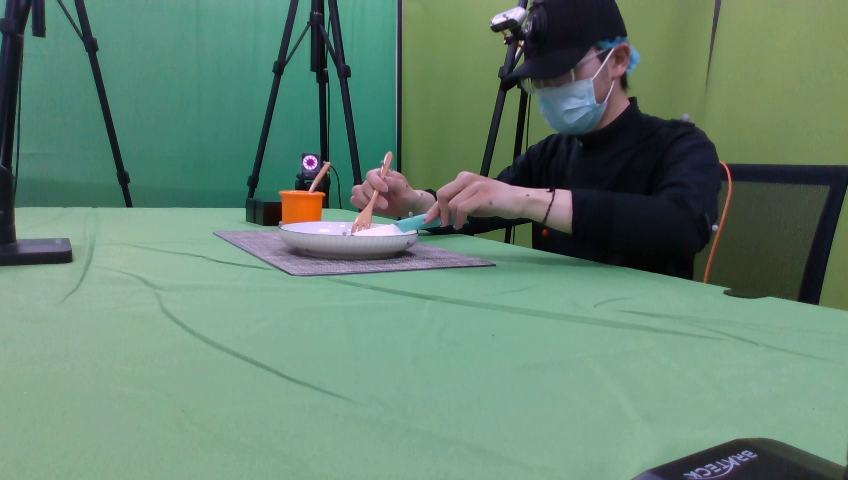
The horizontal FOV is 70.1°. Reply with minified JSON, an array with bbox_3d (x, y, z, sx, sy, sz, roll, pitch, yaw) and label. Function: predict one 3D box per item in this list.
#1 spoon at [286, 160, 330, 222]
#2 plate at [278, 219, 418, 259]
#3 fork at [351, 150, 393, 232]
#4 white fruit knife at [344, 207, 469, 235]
[{"bbox_3d":[-0.233,-0.101,1.252,0.041,0.193,0.022,2,-38,24],"label":"spoon"},{"bbox_3d":[-0.114,-0.003,0.914,0.209,0.038,0.209,2,8,0],"label":"plate"},{"bbox_3d":[-0.081,-0.074,0.983,0.028,0.018,0.207,9,50,8],"label":"fork"},{"bbox_3d":[-0.036,-0.020,0.913,0.207,0.027,0.016,-12,6,3],"label":"white fruit knife"}]
